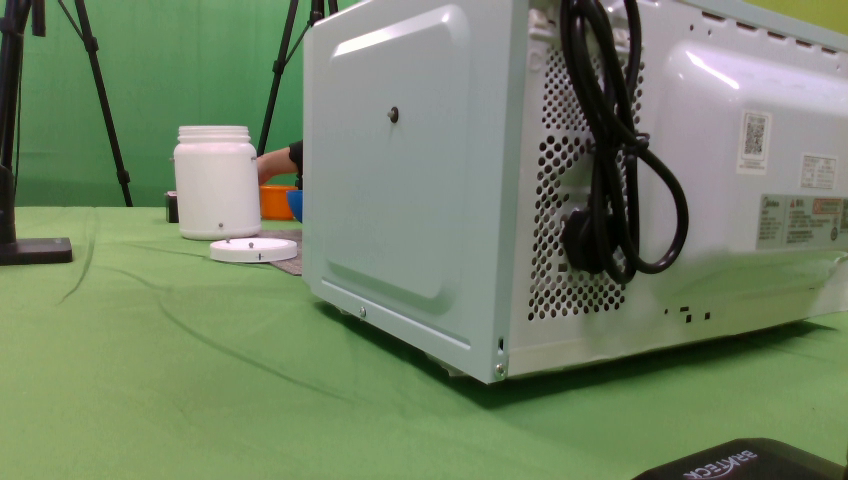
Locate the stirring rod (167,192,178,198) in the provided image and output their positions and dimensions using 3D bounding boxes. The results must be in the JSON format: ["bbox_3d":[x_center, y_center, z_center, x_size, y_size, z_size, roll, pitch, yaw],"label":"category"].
[{"bbox_3d":[-0.466,-0.097,1.281,0.014,0.006,0.177,42,23,20],"label":"stirring rod"}]

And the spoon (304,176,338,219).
[{"bbox_3d":[-0.201,-0.084,1.146,0.042,0.021,0.193,2,31,-25],"label":"spoon"}]

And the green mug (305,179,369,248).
[{"bbox_3d":[-0.133,-0.044,0.977,0.092,0.105,0.126,6,8,32],"label":"green mug"}]

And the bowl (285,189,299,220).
[{"bbox_3d":[-0.180,-0.050,1.113,0.151,0.077,0.151,3,8,0],"label":"bowl"}]

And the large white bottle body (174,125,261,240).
[{"bbox_3d":[-0.349,-0.100,1.025,0.131,0.184,0.130,-1,9,0],"label":"large white bottle body"}]

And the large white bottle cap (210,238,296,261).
[{"bbox_3d":[-0.236,0.012,0.839,0.115,0.018,0.115,1,7,0],"label":"large white bottle cap"}]

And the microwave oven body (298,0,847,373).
[{"bbox_3d":[0.151,-0.055,0.542,0.444,0.260,0.324,-1,7,-33],"label":"microwave oven body"}]

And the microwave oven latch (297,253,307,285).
[{"bbox_3d":[-0.082,0.027,0.582,0.079,0.029,0.030,-1,7,-32],"label":"microwave oven latch"}]

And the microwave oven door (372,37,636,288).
[{"bbox_3d":[0.109,-0.080,0.686,0.358,0.243,0.039,-2,9,-33],"label":"microwave oven door"}]
